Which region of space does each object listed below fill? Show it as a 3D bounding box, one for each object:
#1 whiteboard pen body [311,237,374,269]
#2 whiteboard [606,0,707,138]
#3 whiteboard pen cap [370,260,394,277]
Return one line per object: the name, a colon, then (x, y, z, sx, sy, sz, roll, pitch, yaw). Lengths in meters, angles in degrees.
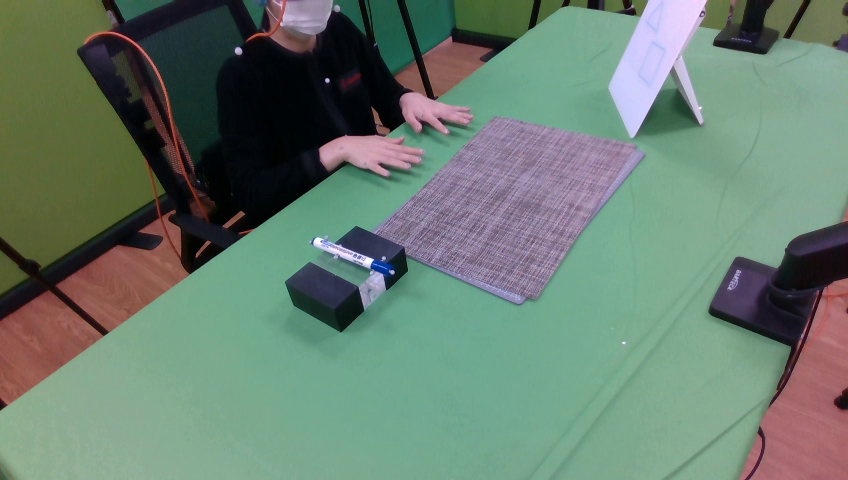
whiteboard pen body: (-0.111, 0.022, 0.891, 0.140, 0.017, 0.017, 19, 47, 28)
whiteboard: (0.496, -0.358, 1.147, 0.144, 0.305, 0.216, 11, 40, -7)
whiteboard pen cap: (-0.061, 0.040, 0.862, 0.033, 0.018, 0.018, 19, 47, 26)
